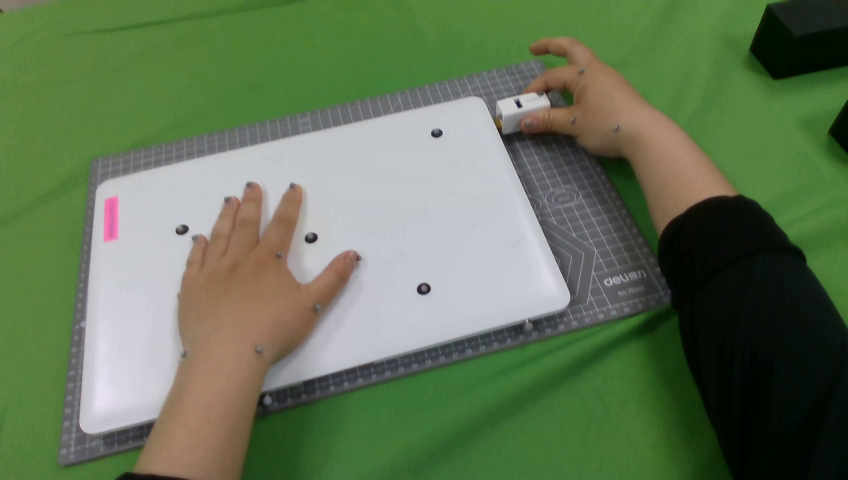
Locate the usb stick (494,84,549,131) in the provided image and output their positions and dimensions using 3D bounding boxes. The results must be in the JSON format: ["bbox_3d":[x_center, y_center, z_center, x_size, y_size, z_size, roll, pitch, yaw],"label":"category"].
[{"bbox_3d":[0.081,-0.116,0.542,0.059,0.027,0.021,-19,49,1],"label":"usb stick"}]

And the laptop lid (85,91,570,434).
[{"bbox_3d":[-0.089,-0.002,0.483,0.357,0.013,0.239,-13,58,-3],"label":"laptop lid"}]

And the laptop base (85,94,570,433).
[{"bbox_3d":[-0.088,0.001,0.492,0.355,0.023,0.233,-14,59,-5],"label":"laptop base"}]
